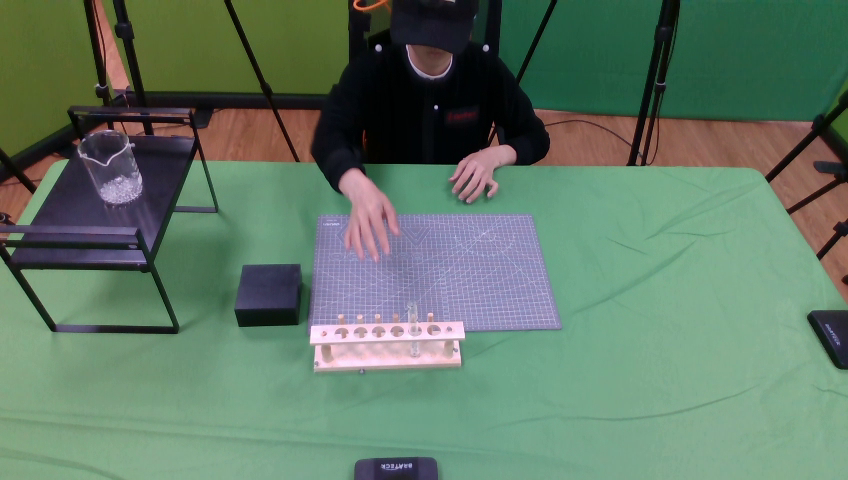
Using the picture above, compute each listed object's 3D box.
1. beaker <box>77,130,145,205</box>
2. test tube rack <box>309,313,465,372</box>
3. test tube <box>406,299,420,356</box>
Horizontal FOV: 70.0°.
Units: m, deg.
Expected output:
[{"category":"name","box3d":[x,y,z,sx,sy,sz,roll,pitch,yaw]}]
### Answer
[{"category":"beaker","box3d":[-0.493,-0.111,0.965,0.074,0.101,0.083,-14,49,-16]},{"category":"test tube rack","box3d":[-0.059,0.161,0.990,0.242,0.085,0.066,-1,46,-5]},{"category":"test tube","box3d":[-0.016,0.140,0.944,0.017,0.151,0.017,-1,50,1]}]
